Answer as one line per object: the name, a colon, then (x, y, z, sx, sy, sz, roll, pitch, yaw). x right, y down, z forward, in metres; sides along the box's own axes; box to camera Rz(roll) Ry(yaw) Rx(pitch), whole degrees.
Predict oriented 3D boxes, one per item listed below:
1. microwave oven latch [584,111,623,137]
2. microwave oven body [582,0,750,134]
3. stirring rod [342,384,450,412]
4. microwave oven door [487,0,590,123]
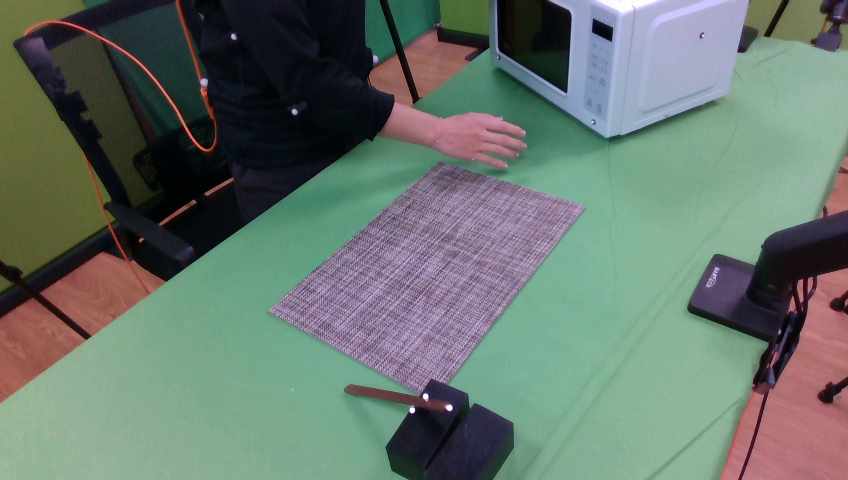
microwave oven latch: (0.337, -0.222, 1.142, 0.030, 0.029, 0.078, -21, 42, -14)
microwave oven body: (0.382, -0.444, 1.246, 0.327, 0.261, 0.437, -22, 42, -16)
stirring rod: (-0.038, 0.185, 0.714, 0.175, 0.006, 0.014, -3, 22, 43)
microwave oven door: (0.232, -0.420, 1.231, 0.039, 0.245, 0.352, -22, 42, -16)
